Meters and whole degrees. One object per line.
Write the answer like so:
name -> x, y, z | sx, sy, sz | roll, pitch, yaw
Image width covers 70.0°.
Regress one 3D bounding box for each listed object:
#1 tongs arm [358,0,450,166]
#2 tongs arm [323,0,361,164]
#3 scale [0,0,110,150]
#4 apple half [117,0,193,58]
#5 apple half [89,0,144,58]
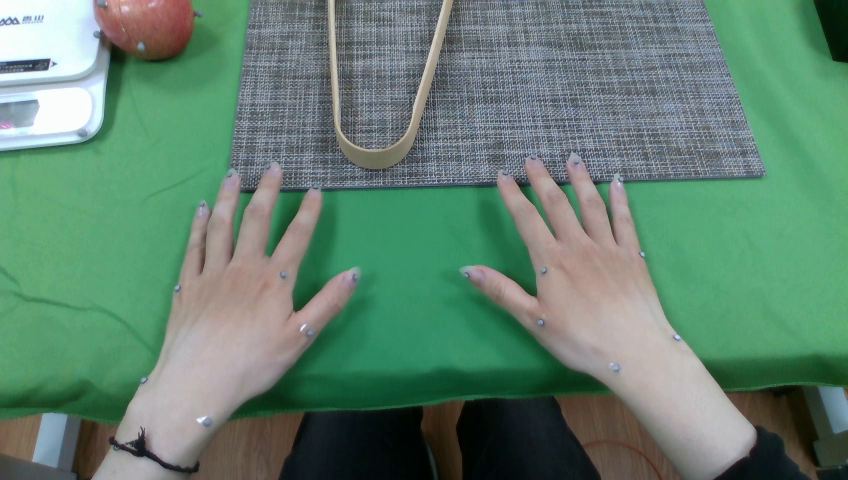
tongs arm -> 0.002, -0.232, 0.578 | 0.051, 0.027, 0.382 | 9, 63, 2
tongs arm -> -0.083, -0.237, 0.580 | 0.028, 0.028, 0.384 | -2, 63, -7
scale -> -0.358, -0.168, 0.539 | 0.149, 0.032, 0.199 | -6, 63, -5
apple half -> -0.235, -0.205, 0.538 | 0.053, 0.075, 0.080 | -10, 59, -9
apple half -> -0.273, -0.198, 0.532 | 0.033, 0.082, 0.080 | -10, 63, -10
